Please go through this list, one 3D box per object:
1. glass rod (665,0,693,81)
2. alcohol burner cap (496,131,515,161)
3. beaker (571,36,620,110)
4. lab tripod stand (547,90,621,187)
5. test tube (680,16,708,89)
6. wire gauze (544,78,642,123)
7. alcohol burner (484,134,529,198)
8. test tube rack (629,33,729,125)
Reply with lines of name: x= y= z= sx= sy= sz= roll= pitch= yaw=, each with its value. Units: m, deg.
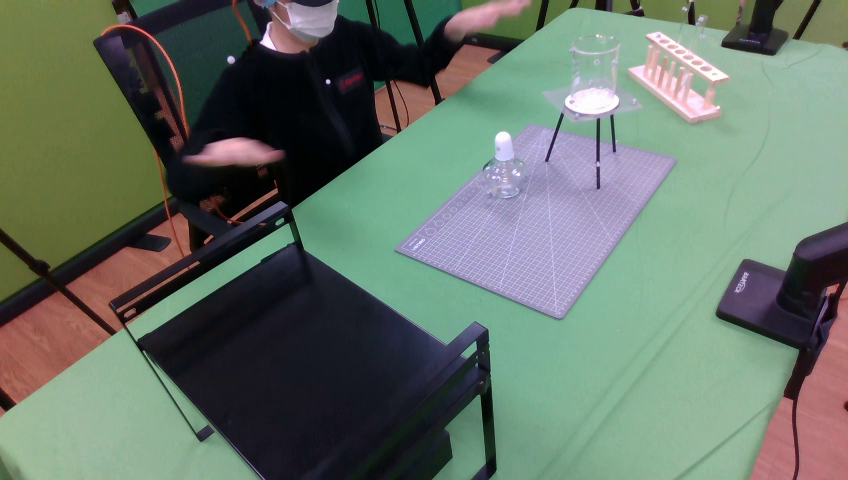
glass rod: x=0.525 y=-0.418 z=1.239 sx=0.008 sy=0.200 sz=0.008 roll=1 pitch=42 yaw=0
alcohol burner cap: x=0.135 y=-0.160 z=1.019 sx=0.034 sy=0.048 sz=0.033 roll=-8 pitch=37 yaw=6
beaker: x=0.280 y=-0.272 z=0.990 sx=0.073 sy=0.101 sz=0.084 roll=17 pitch=47 yaw=28
lab tripod stand: x=0.289 y=-0.184 z=1.062 sx=0.148 sy=0.132 sz=0.147 roll=-6 pitch=41 yaw=6
test tube: x=0.534 y=-0.370 z=1.204 sx=0.017 sy=0.151 sz=0.017 roll=1 pitch=42 yaw=0
wire gauze: x=0.283 y=-0.234 z=1.021 sx=0.125 sy=0.011 sz=0.120 roll=-17 pitch=38 yaw=-4
alcohol burner: x=0.141 y=-0.133 z=1.041 sx=0.078 sy=0.119 sz=0.077 roll=-5 pitch=43 yaw=5
test tube rack: x=0.516 y=-0.337 z=1.247 sx=0.067 sy=0.085 sz=0.240 roll=-14 pitch=41 yaw=-7
